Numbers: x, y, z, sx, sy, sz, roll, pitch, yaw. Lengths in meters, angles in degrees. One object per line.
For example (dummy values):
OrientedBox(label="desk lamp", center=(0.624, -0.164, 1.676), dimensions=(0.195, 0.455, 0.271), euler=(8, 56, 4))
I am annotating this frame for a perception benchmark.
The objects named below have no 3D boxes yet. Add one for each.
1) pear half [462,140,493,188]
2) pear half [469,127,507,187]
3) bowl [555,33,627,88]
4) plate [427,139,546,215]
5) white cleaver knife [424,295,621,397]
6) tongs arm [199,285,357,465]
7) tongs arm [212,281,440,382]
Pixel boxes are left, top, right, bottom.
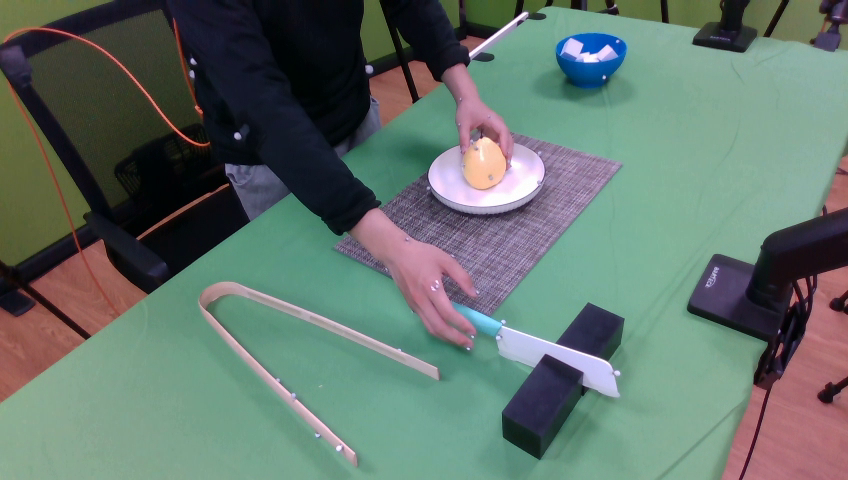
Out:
OrientedBox(label="pear half", center=(0.086, -0.125, 1.027), dimensions=(0.070, 0.088, 0.031), euler=(30, 50, 33))
OrientedBox(label="pear half", center=(0.111, -0.150, 1.039), dimensions=(0.076, 0.110, 0.056), euler=(30, 51, 32))
OrientedBox(label="bowl", center=(0.360, -0.384, 1.318), dimensions=(0.151, 0.077, 0.150), euler=(-4, 41, 4))
OrientedBox(label="plate", center=(0.109, -0.107, 1.059), dimensions=(0.207, 0.039, 0.206), euler=(-4, 41, 4))
OrientedBox(label="white cleaver knife", center=(0.110, 0.132, 0.761), dimensions=(0.284, 0.066, 0.021), euler=(17, 42, 39))
OrientedBox(label="tongs arm", center=(-0.199, 0.162, 0.797), dimensions=(0.381, 0.026, 0.051), euler=(28, 50, 35))
OrientedBox(label="tongs arm", center=(-0.148, 0.122, 0.845), dimensions=(0.385, 0.028, 0.028), euler=(17, 48, 26))
